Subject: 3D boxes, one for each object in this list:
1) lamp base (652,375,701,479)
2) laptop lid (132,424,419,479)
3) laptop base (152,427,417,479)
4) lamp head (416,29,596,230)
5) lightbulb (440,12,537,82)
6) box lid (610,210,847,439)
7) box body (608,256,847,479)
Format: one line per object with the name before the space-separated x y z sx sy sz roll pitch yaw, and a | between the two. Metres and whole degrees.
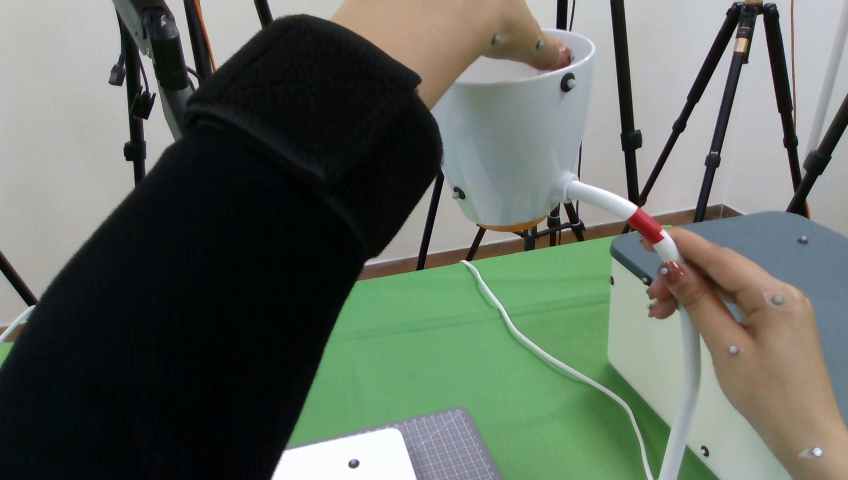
lamp base | 0.167 0.198 0.436 0.160 0.181 0.179 10 26 20
laptop lid | -0.163 0.264 0.480 0.357 0.013 0.239 -8 29 -12
laptop base | -0.163 0.273 0.488 0.355 0.023 0.233 -8 30 -14
lamp head | 0.060 -0.068 0.402 0.112 0.124 0.111 -9 29 6
lightbulb | 0.045 -0.090 0.388 0.059 0.109 0.059 -10 36 7
box lid | 0.375 0.058 0.561 0.264 0.015 0.367 -9 27 -15
box body | 0.377 0.126 0.592 0.255 0.161 0.360 -9 27 -15
